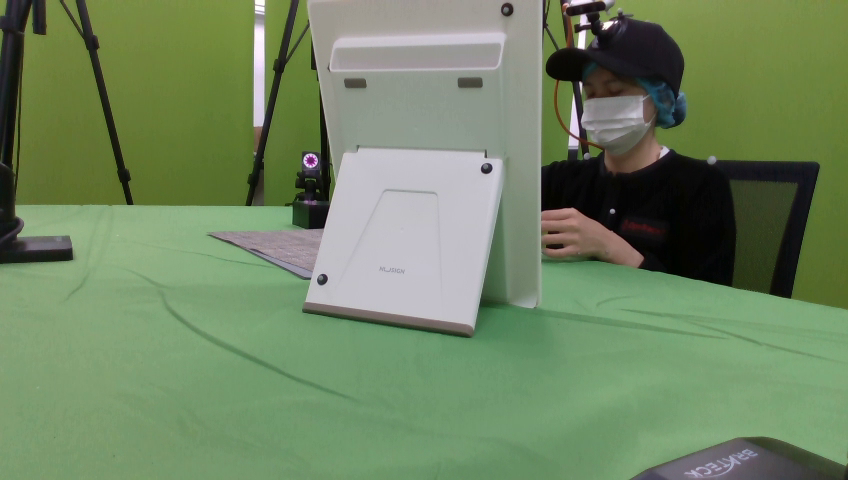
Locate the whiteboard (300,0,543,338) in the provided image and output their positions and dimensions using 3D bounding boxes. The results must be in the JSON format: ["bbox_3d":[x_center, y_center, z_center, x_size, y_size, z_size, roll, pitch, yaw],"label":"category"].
[{"bbox_3d":[-0.020,-0.050,0.523,0.216,0.305,0.144,6,28,22],"label":"whiteboard"}]

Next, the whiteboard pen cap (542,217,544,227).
[{"bbox_3d":[0.172,-0.029,0.952,0.033,0.018,0.018,-2,3,41],"label":"whiteboard pen cap"}]

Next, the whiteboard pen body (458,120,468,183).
[{"bbox_3d":[0.061,-0.139,0.943,0.017,0.017,0.140,3,50,1],"label":"whiteboard pen body"}]
